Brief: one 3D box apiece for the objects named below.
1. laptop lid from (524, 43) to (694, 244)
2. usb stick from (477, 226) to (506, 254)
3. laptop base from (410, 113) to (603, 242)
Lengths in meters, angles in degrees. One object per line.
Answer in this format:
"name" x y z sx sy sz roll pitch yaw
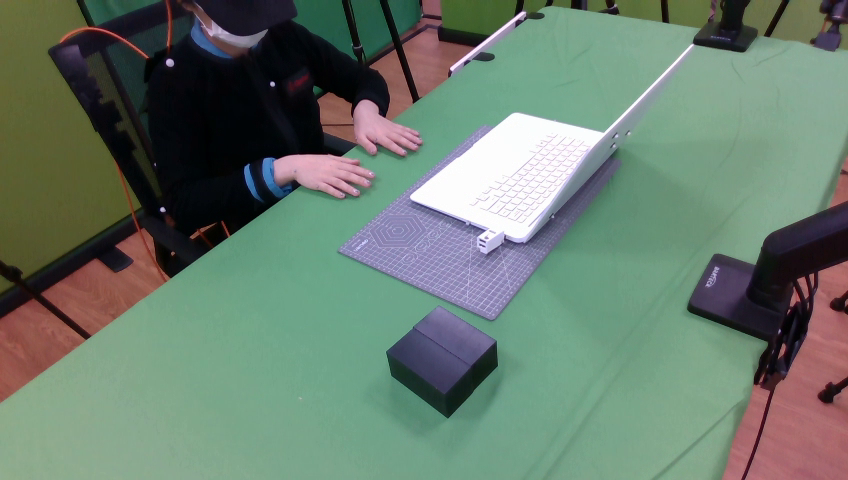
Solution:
"laptop lid" 0.290 -0.151 0.941 0.013 0.241 0.358 40 54 12
"usb stick" 0.107 -0.004 0.933 0.021 0.027 0.059 25 38 35
"laptop base" 0.171 -0.127 1.096 0.233 0.023 0.355 21 47 34
